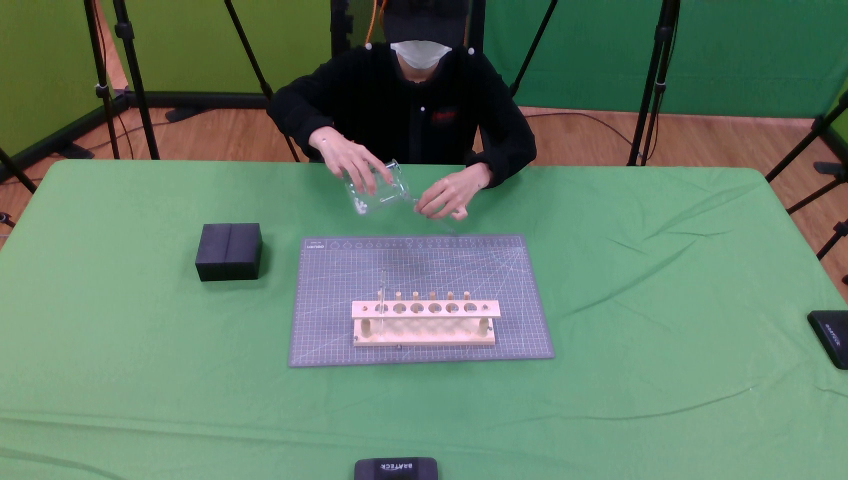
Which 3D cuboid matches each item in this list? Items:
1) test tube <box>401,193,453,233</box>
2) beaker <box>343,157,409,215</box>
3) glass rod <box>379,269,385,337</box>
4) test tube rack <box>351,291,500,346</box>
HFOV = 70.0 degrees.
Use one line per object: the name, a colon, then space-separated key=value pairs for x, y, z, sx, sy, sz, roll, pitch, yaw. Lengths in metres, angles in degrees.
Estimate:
test tube: x=0.009 y=-0.050 z=1.166 sx=0.017 sy=0.151 sz=0.017 roll=-23 pitch=51 yaw=32
beaker: x=-0.087 y=-0.092 z=1.085 sx=0.100 sy=0.084 sz=0.073 roll=-23 pitch=39 yaw=-8
glass rod: x=-0.066 y=0.104 z=0.953 sx=0.008 sy=0.200 sz=0.008 roll=3 pitch=53 yaw=-3
test tube rack: x=0.000 y=0.129 z=1.026 sx=0.242 sy=0.085 sz=0.066 roll=0 pitch=46 yaw=-4
